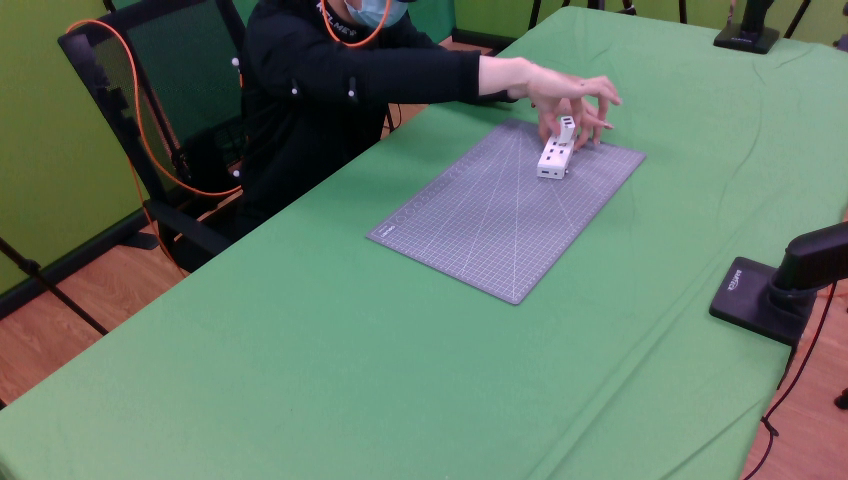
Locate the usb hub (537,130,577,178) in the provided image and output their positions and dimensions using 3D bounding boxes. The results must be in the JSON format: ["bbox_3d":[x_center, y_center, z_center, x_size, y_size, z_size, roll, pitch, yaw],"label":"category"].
[{"bbox_3d":[0.246,-0.159,1.112,0.049,0.025,0.125,11,44,20],"label":"usb hub"}]

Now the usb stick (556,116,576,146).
[{"bbox_3d":[0.250,-0.191,1.073,0.021,0.059,0.027,-12,60,-8],"label":"usb stick"}]
